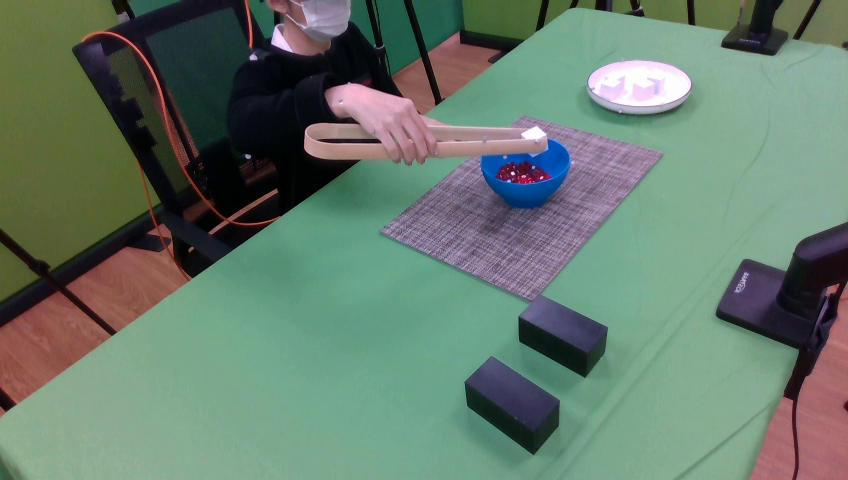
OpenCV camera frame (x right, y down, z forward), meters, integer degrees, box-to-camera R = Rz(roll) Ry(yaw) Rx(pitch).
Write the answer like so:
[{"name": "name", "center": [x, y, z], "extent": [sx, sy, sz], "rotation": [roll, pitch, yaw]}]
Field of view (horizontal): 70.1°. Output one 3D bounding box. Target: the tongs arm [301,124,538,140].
[{"name": "tongs arm", "center": [0.005, -0.160, 0.925], "extent": [0.390, 0.028, 0.028], "rotation": [-4, 45, -21]}]

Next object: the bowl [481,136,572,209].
[{"name": "bowl", "center": [0.172, -0.106, 1.025], "extent": [0.151, 0.077, 0.150], "rotation": [-4, 40, 4]}]

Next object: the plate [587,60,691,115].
[{"name": "plate", "center": [0.445, -0.313, 1.263], "extent": [0.209, 0.038, 0.208], "rotation": [-5, 40, 4]}]

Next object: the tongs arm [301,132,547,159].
[{"name": "tongs arm", "center": [0.012, -0.146, 0.908], "extent": [0.387, 0.026, 0.050], "rotation": [-7, 42, -24]}]
